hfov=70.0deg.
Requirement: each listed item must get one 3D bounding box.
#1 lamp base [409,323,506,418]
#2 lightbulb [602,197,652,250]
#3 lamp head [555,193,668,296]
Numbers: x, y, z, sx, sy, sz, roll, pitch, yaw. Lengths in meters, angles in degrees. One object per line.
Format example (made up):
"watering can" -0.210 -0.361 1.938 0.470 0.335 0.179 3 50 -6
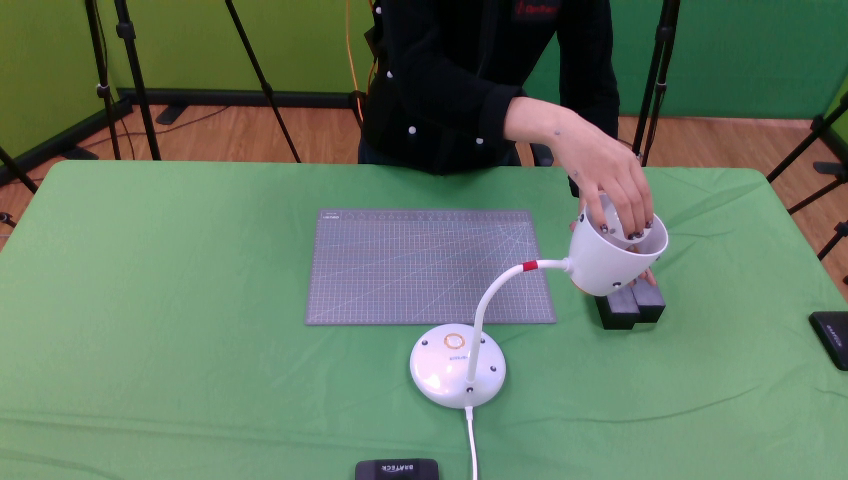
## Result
"lamp base" 0.063 0.161 0.940 0.161 0.181 0.178 -10 51 -13
"lightbulb" 0.249 -0.007 0.778 0.059 0.108 0.059 10 43 -9
"lamp head" 0.236 0.016 0.794 0.113 0.123 0.111 14 43 -13
